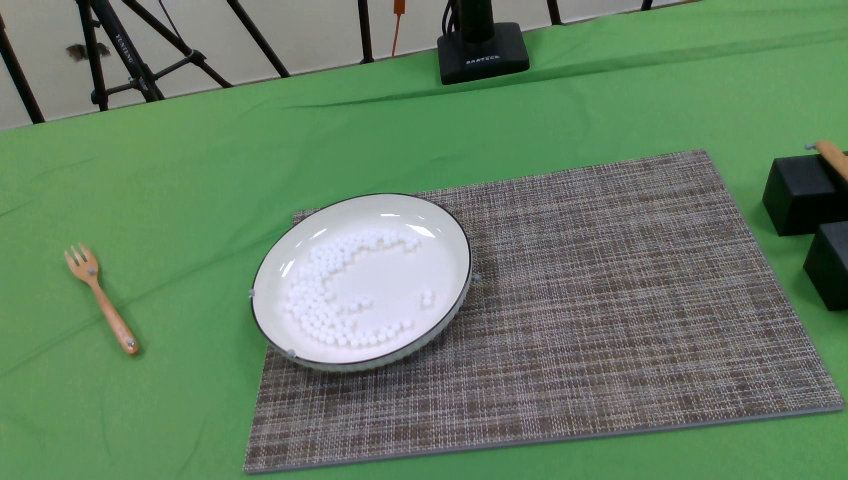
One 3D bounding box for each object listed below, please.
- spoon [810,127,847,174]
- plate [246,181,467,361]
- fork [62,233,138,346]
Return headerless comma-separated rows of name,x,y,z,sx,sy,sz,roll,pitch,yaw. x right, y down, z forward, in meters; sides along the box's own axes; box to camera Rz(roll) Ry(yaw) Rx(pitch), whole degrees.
spoon,0.352,-0.036,0.473,0.041,0.022,0.191,-25,42,22
plate,-0.060,0.027,0.570,0.207,0.039,0.205,-7,47,8
fork,-0.341,0.049,0.638,0.028,0.019,0.205,-32,46,-25
